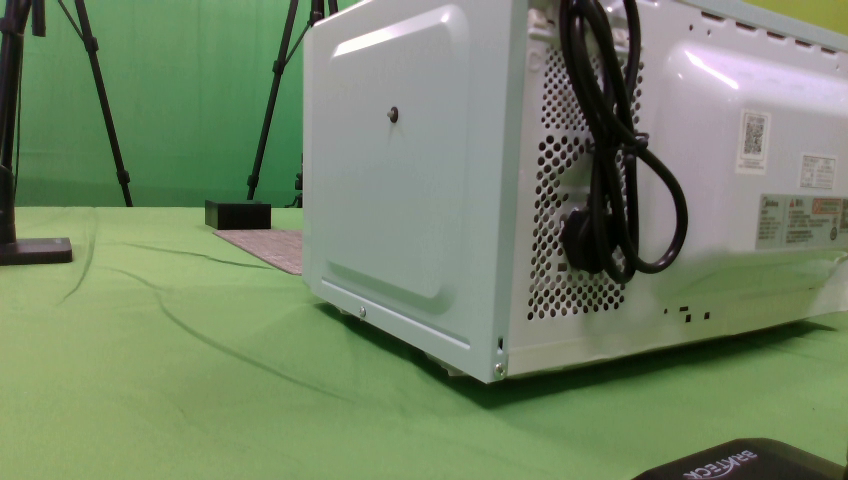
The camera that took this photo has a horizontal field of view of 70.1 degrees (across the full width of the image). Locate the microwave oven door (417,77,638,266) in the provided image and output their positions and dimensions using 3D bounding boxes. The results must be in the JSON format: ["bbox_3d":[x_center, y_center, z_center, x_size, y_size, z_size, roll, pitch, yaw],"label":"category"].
[{"bbox_3d":[0.131,-0.105,0.891,0.354,0.243,0.039,9,10,42],"label":"microwave oven door"}]

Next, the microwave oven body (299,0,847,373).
[{"bbox_3d":[0.151,-0.055,0.542,0.444,0.260,0.324,-2,7,-33],"label":"microwave oven body"}]

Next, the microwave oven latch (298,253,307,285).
[{"bbox_3d":[-0.081,0.027,0.582,0.079,0.029,0.030,-1,7,-32],"label":"microwave oven latch"}]
